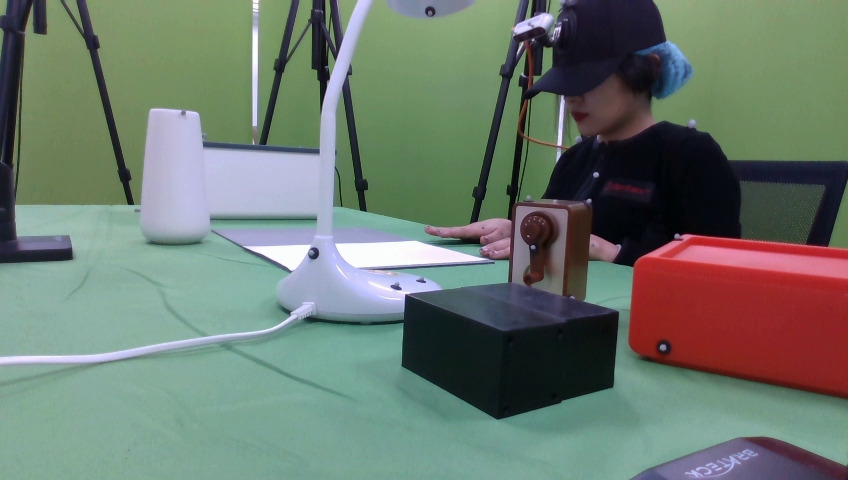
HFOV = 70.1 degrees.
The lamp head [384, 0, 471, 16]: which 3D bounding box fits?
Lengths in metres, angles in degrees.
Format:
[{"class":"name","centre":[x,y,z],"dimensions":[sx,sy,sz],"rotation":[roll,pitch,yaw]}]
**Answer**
[{"class":"lamp head","centre":[-0.001,-0.301,0.599],"dimensions":[0.112,0.112,0.123],"rotation":[4,-30,14]}]

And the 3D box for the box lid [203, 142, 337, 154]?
[{"class":"box lid","centre":[-0.405,-0.209,1.377],"dimensions":[0.373,0.015,0.262],"rotation":[-1,9,-29]}]

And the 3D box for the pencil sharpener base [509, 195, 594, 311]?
[{"class":"pencil sharpener base","centre":[0.126,0.011,0.601],"dimensions":[0.061,0.107,0.077],"rotation":[6,9,30]}]

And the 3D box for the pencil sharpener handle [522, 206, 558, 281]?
[{"class":"pencil sharpener handle","centre":[0.102,0.003,0.555],"dimensions":[0.036,0.067,0.031],"rotation":[0,5,31]}]

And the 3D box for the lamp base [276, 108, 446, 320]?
[{"class":"lamp base","centre":[-0.061,-0.027,0.556],"dimensions":[0.160,0.180,0.180],"rotation":[4,10,20]}]

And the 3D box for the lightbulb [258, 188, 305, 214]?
[{"class":"lightbulb","centre":[-0.325,-0.082,1.382],"dimensions":[0.108,0.059,0.059],"rotation":[-15,9,-6]}]

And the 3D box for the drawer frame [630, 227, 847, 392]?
[{"class":"drawer frame","centre":[0.292,0.043,0.484],"dimensions":[0.201,0.082,0.214],"rotation":[7,9,29]}]

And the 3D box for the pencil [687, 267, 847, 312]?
[{"class":"pencil","centre":[0.308,0.044,0.515],"dimensions":[0.194,0.012,0.012],"rotation":[13,5,-12]}]

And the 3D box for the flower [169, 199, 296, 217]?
[{"class":"flower","centre":[-0.423,-0.069,1.399],"dimensions":[0.044,0.038,0.363],"rotation":[2,2,31]}]

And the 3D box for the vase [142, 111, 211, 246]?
[{"class":"vase","centre":[-0.378,-0.093,0.920],"dimensions":[0.098,0.200,0.098],"rotation":[2,9,0]}]

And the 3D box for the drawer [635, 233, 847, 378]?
[{"class":"drawer","centre":[0.292,0.045,0.488],"dimensions":[0.193,0.073,0.213],"rotation":[7,9,30]}]

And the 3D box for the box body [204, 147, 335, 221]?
[{"class":"box body","centre":[-0.411,-0.135,1.386],"dimensions":[0.366,0.160,0.253],"rotation":[-2,9,-29]}]
